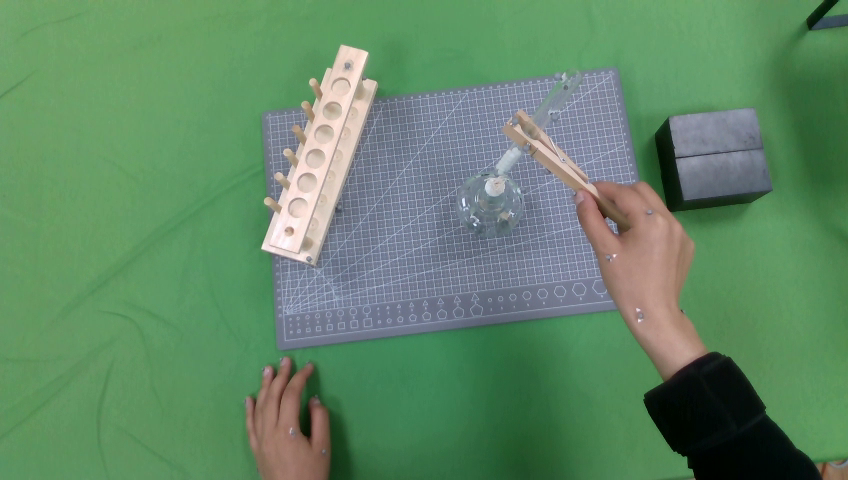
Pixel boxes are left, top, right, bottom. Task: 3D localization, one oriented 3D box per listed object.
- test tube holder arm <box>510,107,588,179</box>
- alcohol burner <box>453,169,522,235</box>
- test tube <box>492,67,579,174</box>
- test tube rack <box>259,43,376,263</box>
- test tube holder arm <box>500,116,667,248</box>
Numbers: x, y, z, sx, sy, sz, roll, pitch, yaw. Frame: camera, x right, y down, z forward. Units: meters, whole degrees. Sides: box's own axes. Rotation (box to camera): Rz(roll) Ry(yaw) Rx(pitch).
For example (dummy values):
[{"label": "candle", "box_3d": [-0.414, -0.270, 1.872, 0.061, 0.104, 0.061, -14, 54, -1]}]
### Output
[{"label": "test tube holder arm", "box_3d": [0.111, -0.084, 0.542, 0.087, 0.015, 0.010, 46, 62, 4]}, {"label": "alcohol burner", "box_3d": [0.072, -0.047, 0.673, 0.078, 0.119, 0.077, 0, 77, 1]}, {"label": "test tube", "box_3d": [0.093, -0.099, 0.533, 0.017, 0.150, 0.017, 7, 65, -15]}, {"label": "test tube rack", "box_3d": [-0.130, -0.103, 0.705, 0.066, 0.085, 0.241, 17, 80, 6]}, {"label": "test tube holder arm", "box_3d": [0.141, -0.051, 0.538, 0.178, 0.015, 0.013, 39, 62, 0]}]
